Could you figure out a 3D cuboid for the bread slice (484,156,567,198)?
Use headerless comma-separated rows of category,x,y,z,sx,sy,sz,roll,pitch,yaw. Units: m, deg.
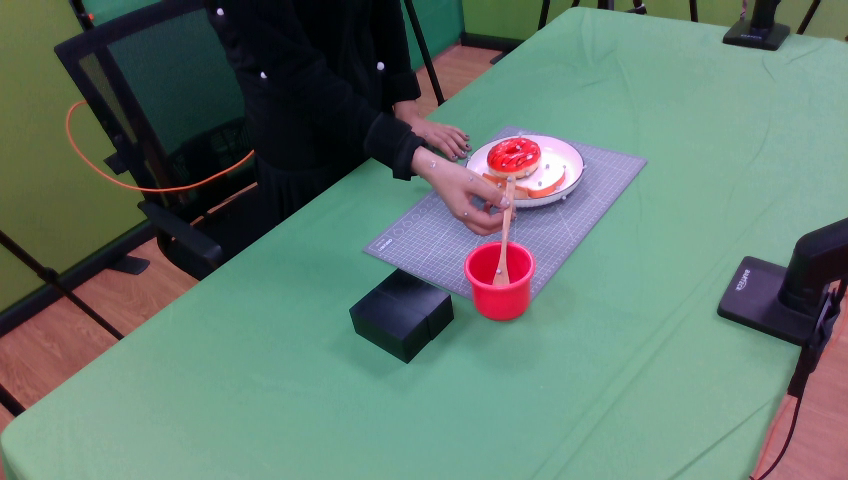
bread slice,0.187,-0.120,1.077,0.130,0.019,0.105,27,53,37

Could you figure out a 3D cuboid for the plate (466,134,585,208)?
plate,0.178,-0.120,1.075,0.209,0.038,0.208,-5,40,5

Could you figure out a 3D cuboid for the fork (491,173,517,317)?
fork,0.116,0.005,0.852,0.028,0.019,0.207,4,83,19

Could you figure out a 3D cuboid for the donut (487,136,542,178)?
donut,0.159,-0.147,1.068,0.099,0.048,0.098,-9,39,8

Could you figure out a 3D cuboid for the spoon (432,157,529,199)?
spoon,0.095,-0.108,1.055,0.192,0.022,0.042,30,49,21
